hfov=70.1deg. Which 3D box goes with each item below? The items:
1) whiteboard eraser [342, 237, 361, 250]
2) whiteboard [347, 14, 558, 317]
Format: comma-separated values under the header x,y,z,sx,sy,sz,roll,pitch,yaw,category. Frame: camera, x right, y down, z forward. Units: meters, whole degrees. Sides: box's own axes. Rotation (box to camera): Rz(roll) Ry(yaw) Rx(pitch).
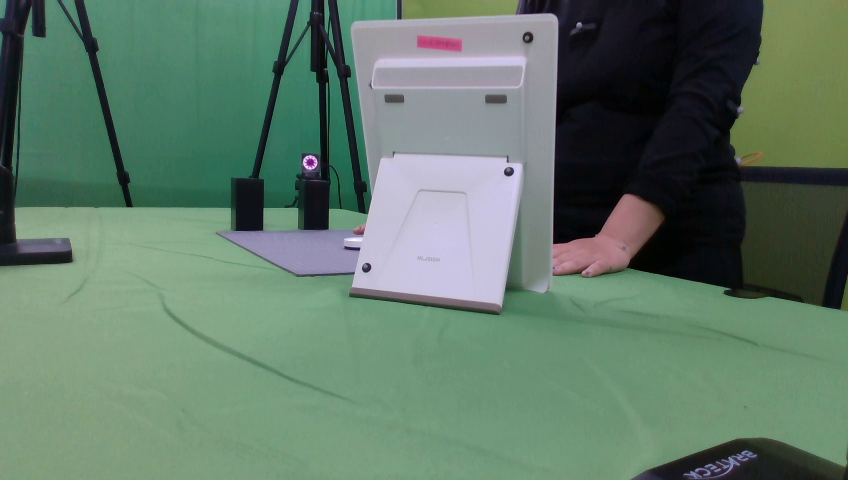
x,y,z,sx,sy,sz,roll,pitch,yaw,category
-0.082,0.004,0.967,0.102,0.019,0.041,-1,7,-30,whiteboard eraser
0.012,-0.056,0.608,0.216,0.305,0.144,5,27,20,whiteboard
